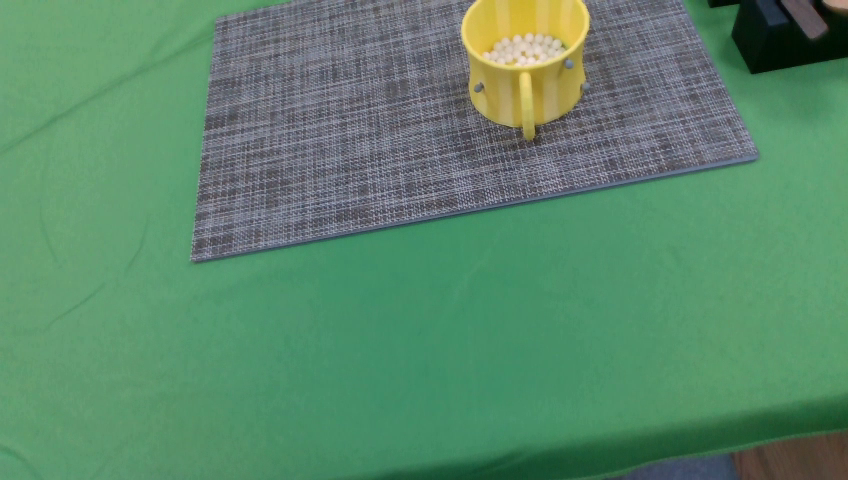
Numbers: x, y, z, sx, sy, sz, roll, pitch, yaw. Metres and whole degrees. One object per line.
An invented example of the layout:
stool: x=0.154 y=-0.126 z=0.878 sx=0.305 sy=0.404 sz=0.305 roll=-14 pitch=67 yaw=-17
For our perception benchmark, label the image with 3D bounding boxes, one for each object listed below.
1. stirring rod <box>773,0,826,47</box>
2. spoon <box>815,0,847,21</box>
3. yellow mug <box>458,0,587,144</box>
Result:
stirring rod: x=0.270 y=-0.216 z=0.483 sx=0.014 sy=0.006 sz=0.174 roll=-32 pitch=54 yaw=31
spoon: x=0.309 y=-0.232 z=0.480 sx=0.041 sy=0.022 sz=0.192 roll=-7 pitch=57 yaw=9
yellow mug: x=0.081 y=-0.137 z=0.493 sx=0.100 sy=0.064 sz=0.129 roll=-3 pitch=60 yaw=9
